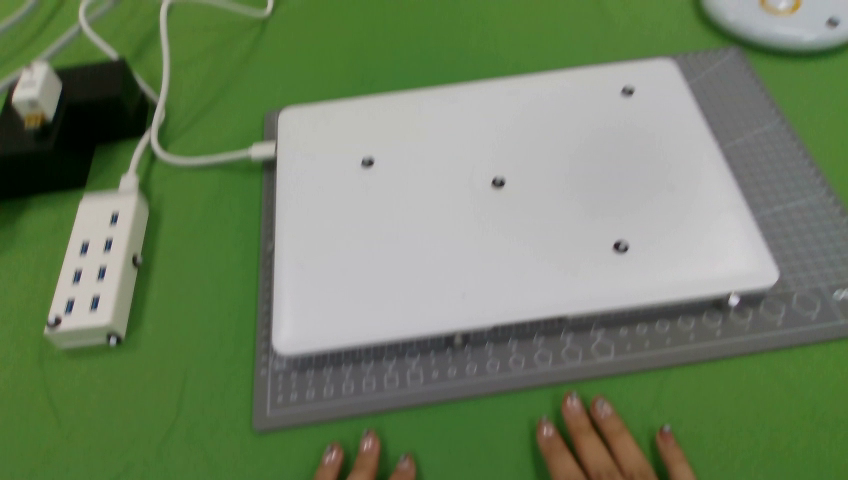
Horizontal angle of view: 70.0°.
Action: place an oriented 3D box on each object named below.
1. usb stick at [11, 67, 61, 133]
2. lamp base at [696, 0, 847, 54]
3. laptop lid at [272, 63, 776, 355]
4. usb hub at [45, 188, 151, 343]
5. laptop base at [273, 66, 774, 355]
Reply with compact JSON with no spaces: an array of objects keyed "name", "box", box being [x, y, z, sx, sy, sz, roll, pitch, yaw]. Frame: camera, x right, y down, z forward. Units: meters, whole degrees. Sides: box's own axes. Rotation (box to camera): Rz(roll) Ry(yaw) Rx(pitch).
[{"name":"usb stick","box":[-0.321,-0.114,0.500,0.021,0.027,0.058,-8,56,-4]},{"name":"lamp base","box":[0.354,-0.294,0.548,0.160,0.182,0.178,20,56,18]},{"name":"laptop lid","box":[0.058,-0.041,0.473,0.357,0.013,0.239,-6,56,0]},{"name":"usb hub","box":[-0.246,0.016,0.464,0.049,0.025,0.124,-8,54,0]},{"name":"laptop base","box":[0.058,-0.036,0.483,0.354,0.023,0.233,-8,58,-1]}]
